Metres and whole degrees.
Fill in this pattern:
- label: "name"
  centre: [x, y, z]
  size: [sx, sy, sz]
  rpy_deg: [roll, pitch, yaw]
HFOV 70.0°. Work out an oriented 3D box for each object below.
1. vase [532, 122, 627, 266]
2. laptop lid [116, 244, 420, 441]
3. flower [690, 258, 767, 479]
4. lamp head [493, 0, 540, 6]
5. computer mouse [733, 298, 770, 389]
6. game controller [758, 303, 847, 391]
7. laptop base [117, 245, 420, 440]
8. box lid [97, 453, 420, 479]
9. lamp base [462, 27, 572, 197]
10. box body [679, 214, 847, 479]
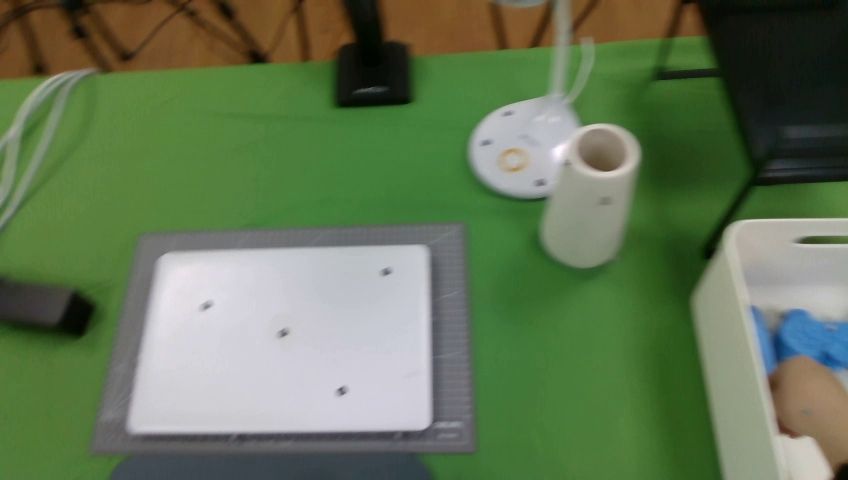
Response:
- label: "vase"
  centre: [0.179, -0.049, 0.705]
  size: [0.098, 0.202, 0.097]
  rpy_deg: [-3, 61, 5]
- label: "laptop lid"
  centre: [-0.181, 0.117, 0.732]
  size: [0.356, 0.013, 0.239]
  rpy_deg: [-1, 64, 4]
- label: "flower"
  centre: [0.342, 0.192, 0.639]
  size: [0.038, 0.044, 0.359]
  rpy_deg: [-21, 68, 39]
- label: "lamp head"
  centre: [0.075, -0.275, 0.503]
  size: [0.112, 0.113, 0.122]
  rpy_deg: [26, 85, 17]
- label: "computer mouse"
  centre: [0.347, 0.113, 0.690]
  size: [0.063, 0.041, 0.116]
  rpy_deg: [-4, 53, 5]
- label: "game controller"
  centre: [0.455, 0.118, 0.679]
  size: [0.155, 0.052, 0.096]
  rpy_deg: [0, 61, 3]
- label: "laptop base"
  centre: [-0.181, 0.120, 0.744]
  size: [0.354, 0.023, 0.233]
  rpy_deg: [-2, 66, 3]
- label: "box lid"
  centre: [-0.188, 0.360, 0.625]
  size: [0.371, 0.015, 0.261]
  rpy_deg: [-3, 62, 3]
- label: "lamp base"
  centre: [0.135, -0.176, 0.786]
  size: [0.159, 0.182, 0.178]
  rpy_deg: [29, 65, 18]
- label: "box body"
  centre: [0.418, 0.169, 0.594]
  size: [0.254, 0.162, 0.361]
  rpy_deg: [-1, 62, 4]
